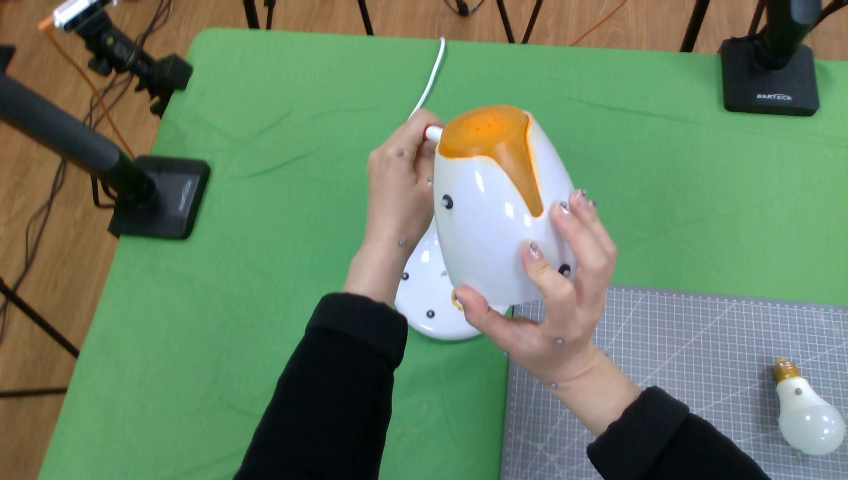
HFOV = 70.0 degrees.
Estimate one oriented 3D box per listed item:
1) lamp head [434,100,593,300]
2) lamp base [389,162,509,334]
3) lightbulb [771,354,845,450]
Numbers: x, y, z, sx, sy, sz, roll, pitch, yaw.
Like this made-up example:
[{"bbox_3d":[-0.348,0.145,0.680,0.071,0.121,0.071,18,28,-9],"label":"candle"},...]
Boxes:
[{"bbox_3d":[0.053,-0.038,0.433,0.112,0.124,0.111,-17,30,11],"label":"lamp head"},{"bbox_3d":[0.021,0.001,0.698,0.160,0.182,0.177,-34,65,-9],"label":"lamp base"},{"bbox_3d":[0.409,0.173,0.657,0.059,0.060,0.106,-8,51,2],"label":"lightbulb"}]
